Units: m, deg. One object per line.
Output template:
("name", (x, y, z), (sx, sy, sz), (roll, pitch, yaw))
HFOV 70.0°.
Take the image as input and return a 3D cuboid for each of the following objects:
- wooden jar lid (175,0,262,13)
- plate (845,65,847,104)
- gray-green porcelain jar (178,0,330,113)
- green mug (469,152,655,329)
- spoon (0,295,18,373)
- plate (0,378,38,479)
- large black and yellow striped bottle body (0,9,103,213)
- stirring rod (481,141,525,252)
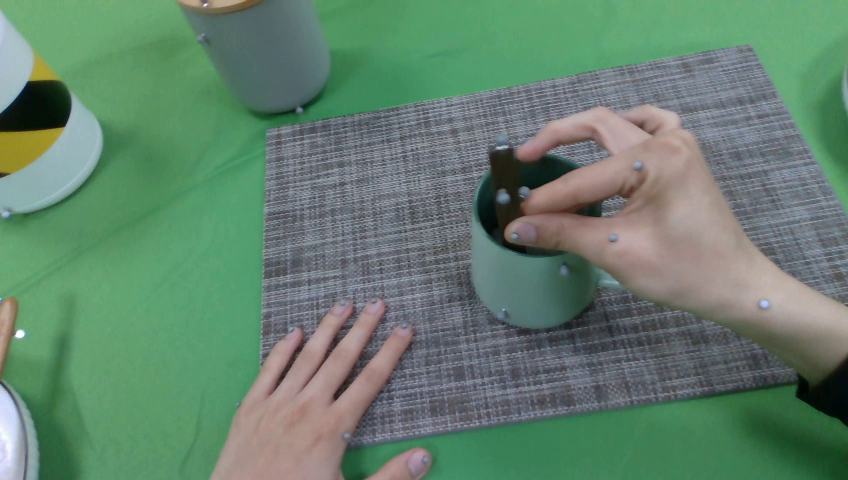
("wooden jar lid", (-0.155, -0.219, 0.492), (0.108, 0.021, 0.107), (-3, 63, 6))
("plate", (0.436, -0.105, 0.466), (0.207, 0.039, 0.206), (-4, 60, 7))
("gray-green porcelain jar", (-0.146, -0.188, 0.545), (0.106, 0.127, 0.105), (-3, 60, 6))
("green mug", (0.091, 0.006, 0.410), (0.125, 0.106, 0.092), (11, 62, 13))
("spoon", (-0.304, 0.127, 0.420), (0.041, 0.022, 0.192), (-7, 68, 3))
("plate", (-0.360, 0.186, 0.413), (0.209, 0.038, 0.207), (-3, 60, 6))
("large black and yellow striped bottle body", (-0.380, -0.121, 0.506), (0.130, 0.185, 0.129), (-3, 60, 6))
("stirring rod", (0.053, 0.001, 0.364), (0.014, 0.178, 0.005), (-17, 55, 4))
